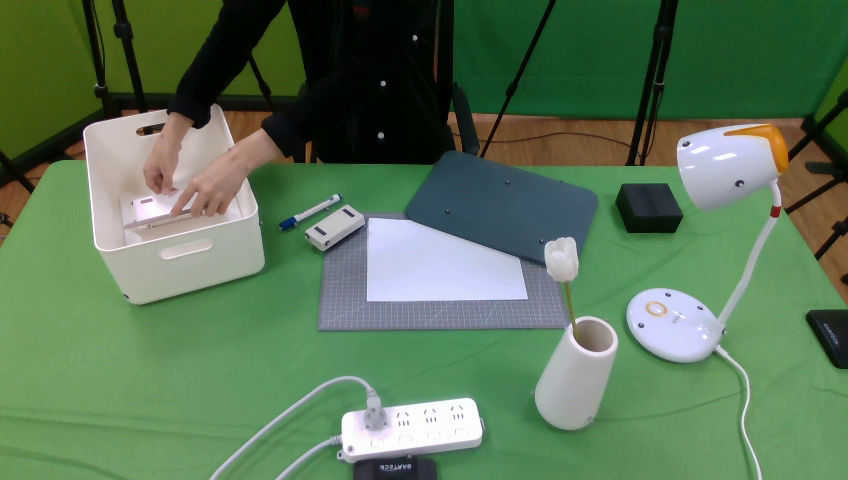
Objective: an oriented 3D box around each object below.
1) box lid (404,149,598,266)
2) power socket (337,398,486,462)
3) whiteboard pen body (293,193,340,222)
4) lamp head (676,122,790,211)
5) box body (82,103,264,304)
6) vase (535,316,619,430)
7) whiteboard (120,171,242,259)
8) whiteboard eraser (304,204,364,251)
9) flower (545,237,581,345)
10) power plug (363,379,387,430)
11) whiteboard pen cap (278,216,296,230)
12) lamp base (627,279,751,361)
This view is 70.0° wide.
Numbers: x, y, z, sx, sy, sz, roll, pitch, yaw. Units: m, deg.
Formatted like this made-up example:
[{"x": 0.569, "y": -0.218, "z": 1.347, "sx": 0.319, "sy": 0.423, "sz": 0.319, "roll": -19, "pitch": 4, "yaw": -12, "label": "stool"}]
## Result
[{"x": 0.171, "y": -0.073, "z": 1.289, "sx": 0.371, "sy": 0.015, "sz": 0.262, "roll": 19, "pitch": 47, "yaw": 14, "label": "box lid"}, {"x": -0.018, "y": 0.285, "z": 0.914, "sx": 0.227, "sy": 0.033, "sz": 0.071, "roll": -4, "pitch": 46, "yaw": -8, "label": "power socket"}, {"x": -0.231, "y": -0.062, "z": 1.243, "sx": 0.141, "sy": 0.017, "sz": 0.017, "roll": -32, "pitch": 56, "yaw": -30, "label": "whiteboard pen body"}, {"x": 0.423, "y": -0.104, "z": 0.819, "sx": 0.122, "sy": 0.113, "sz": 0.112, "roll": -13, "pitch": 33, "yaw": 40, "label": "lamp head"}, {"x": -0.465, "y": -0.077, "z": 1.137, "sx": 0.254, "sy": 0.161, "sz": 0.361, "roll": -16, "pitch": 50, "yaw": -19, "label": "box body"}, {"x": 0.229, "y": 0.200, "z": 0.900, "sx": 0.098, "sy": 0.201, "sz": 0.097, "roll": 3, "pitch": 46, "yaw": -3, "label": "vase"}, {"x": -0.464, "y": -0.065, "z": 1.136, "sx": 0.217, "sy": 0.144, "sz": 0.303, "roll": -16, "pitch": 50, "yaw": -17, "label": "whiteboard"}, {"x": -0.175, "y": -0.022, "z": 1.188, "sx": 0.055, "sy": 0.042, "sz": 0.112, "roll": 36, "pitch": 54, "yaw": 26, "label": "whiteboard eraser"}, {"x": 0.213, "y": 0.137, "z": 0.846, "sx": 0.038, "sy": 0.364, "sz": 0.044, "roll": 22, "pitch": 55, "yaw": 40, "label": "flower"}, {"x": -0.072, "y": 0.252, "z": 0.911, "sx": 0.035, "sy": 0.053, "sz": 0.072, "roll": 3, "pitch": 40, "yaw": 0, "label": "power plug"}, {"x": -0.273, "y": -0.034, "z": 1.213, "sx": 0.033, "sy": 0.018, "sz": 0.018, "roll": -32, "pitch": 56, "yaw": -31, "label": "whiteboard pen cap"}, {"x": 0.460, "y": 0.100, "z": 1.027, "sx": 0.178, "sy": 0.181, "sz": 0.160, "roll": 27, "pitch": 51, "yaw": 17, "label": "lamp base"}]
